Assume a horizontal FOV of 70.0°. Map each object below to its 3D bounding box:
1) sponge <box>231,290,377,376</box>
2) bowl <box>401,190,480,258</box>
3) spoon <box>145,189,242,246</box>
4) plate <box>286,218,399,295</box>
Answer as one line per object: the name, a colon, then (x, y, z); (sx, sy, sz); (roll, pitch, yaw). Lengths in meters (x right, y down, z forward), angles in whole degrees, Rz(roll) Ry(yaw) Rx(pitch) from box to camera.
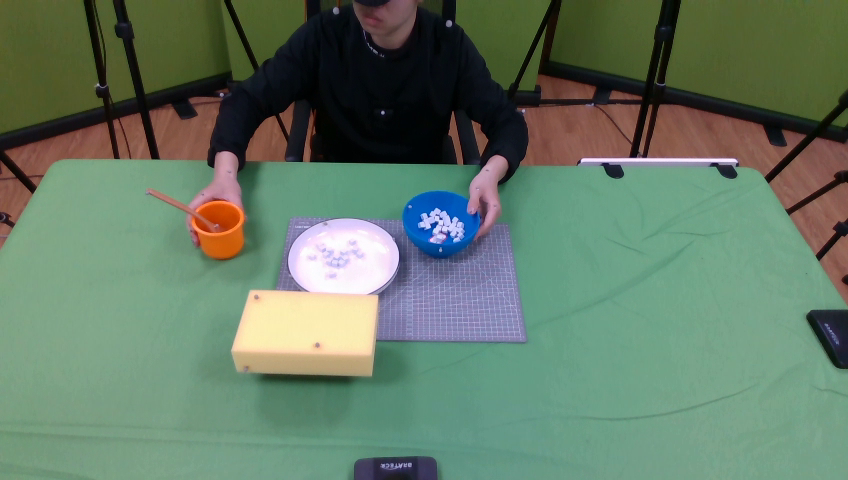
sponge: (-0.180, 0.144, 0.949); (0.207, 0.061, 0.117); (2, 46, -2)
bowl: (0.029, -0.019, 1.175); (0.151, 0.077, 0.150); (3, 46, -2)
spoon: (-0.416, -0.042, 1.104); (0.021, 0.195, 0.041); (-33, 39, 22)
plate: (-0.150, 0.041, 1.131); (0.209, 0.038, 0.208); (2, 45, -2)
